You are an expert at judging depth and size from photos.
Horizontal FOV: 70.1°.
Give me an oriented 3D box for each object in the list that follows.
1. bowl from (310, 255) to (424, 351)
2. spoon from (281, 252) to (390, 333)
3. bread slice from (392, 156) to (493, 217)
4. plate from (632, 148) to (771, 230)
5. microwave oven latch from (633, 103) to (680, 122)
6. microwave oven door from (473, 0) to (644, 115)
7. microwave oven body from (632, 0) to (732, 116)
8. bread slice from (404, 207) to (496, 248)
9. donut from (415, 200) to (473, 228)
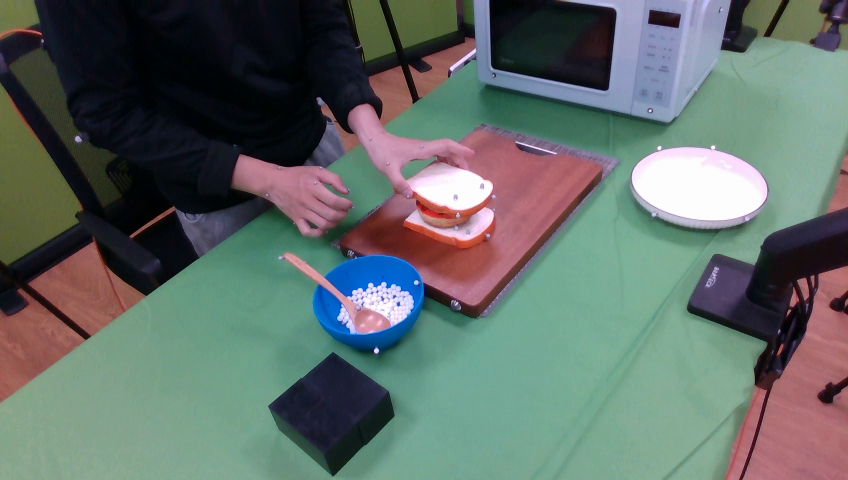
[{"bbox_3d":[-0.071,0.098,0.821,0.151,0.077,0.150,-4,40,4],"label":"bowl"},{"bbox_3d":[-0.122,0.070,0.811,0.193,0.022,0.042,38,64,16],"label":"spoon"},{"bbox_3d":[0.037,-0.080,0.920,0.133,0.018,0.107,24,47,28],"label":"bread slice"},{"bbox_3d":[0.447,-0.081,0.988,0.207,0.039,0.206,-4,40,4],"label":"plate"},{"bbox_3d":[0.444,-0.249,1.157,0.078,0.029,0.030,21,49,30],"label":"microwave oven latch"},{"bbox_3d":[0.257,-0.396,1.199,0.353,0.245,0.039,21,48,29],"label":"microwave oven door"},{"bbox_3d":[0.377,-0.462,1.267,0.438,0.261,0.327,21,49,30],"label":"microwave oven body"},{"bbox_3d":[0.048,-0.035,0.961,0.130,0.019,0.105,22,50,32],"label":"bread slice"},{"bbox_3d":[0.036,-0.058,0.944,0.099,0.048,0.098,-5,40,5],"label":"donut"}]
